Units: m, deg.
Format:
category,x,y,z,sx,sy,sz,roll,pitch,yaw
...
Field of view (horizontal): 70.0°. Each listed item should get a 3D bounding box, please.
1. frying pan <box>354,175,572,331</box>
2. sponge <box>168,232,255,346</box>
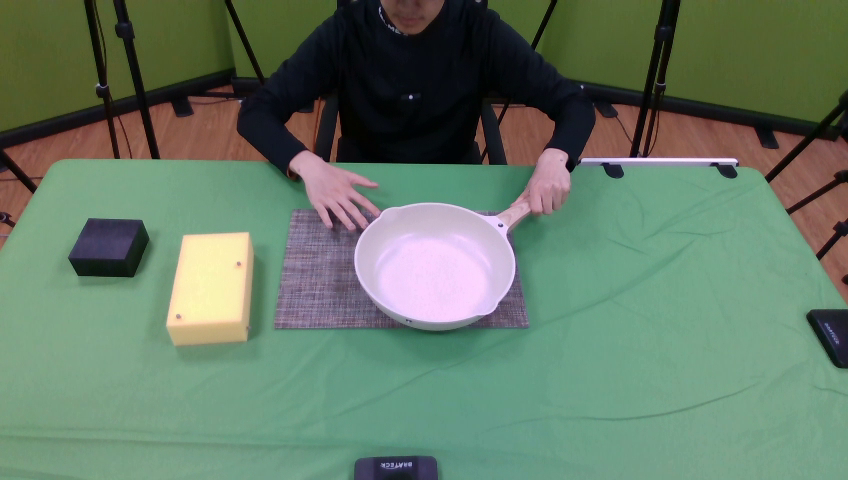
category,x,y,z,sx,sy,sz,roll,pitch,yaw
frying pan,0.103,-0.001,1.142,0.488,0.103,0.305,-32,56,-20
sponge,-0.368,0.081,1.065,0.118,0.061,0.205,-4,46,-7
